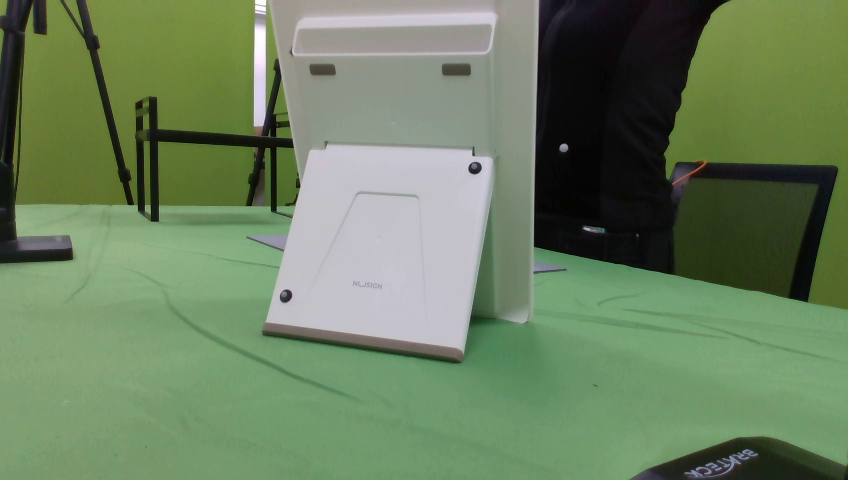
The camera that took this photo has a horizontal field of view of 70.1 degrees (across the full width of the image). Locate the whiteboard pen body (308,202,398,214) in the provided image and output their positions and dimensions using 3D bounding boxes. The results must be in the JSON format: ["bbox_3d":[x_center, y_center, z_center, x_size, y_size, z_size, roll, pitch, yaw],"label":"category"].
[{"bbox_3d":[-0.108,-0.049,0.932,0.141,0.017,0.017,-3,9,-21],"label":"whiteboard pen body"}]

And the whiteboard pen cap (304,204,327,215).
[{"bbox_3d":[-0.163,-0.046,0.911,0.033,0.018,0.018,-3,9,-20],"label":"whiteboard pen cap"}]

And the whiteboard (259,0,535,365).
[{"bbox_3d":[-0.037,-0.041,0.457,0.216,0.305,0.144,5,28,19],"label":"whiteboard"}]
